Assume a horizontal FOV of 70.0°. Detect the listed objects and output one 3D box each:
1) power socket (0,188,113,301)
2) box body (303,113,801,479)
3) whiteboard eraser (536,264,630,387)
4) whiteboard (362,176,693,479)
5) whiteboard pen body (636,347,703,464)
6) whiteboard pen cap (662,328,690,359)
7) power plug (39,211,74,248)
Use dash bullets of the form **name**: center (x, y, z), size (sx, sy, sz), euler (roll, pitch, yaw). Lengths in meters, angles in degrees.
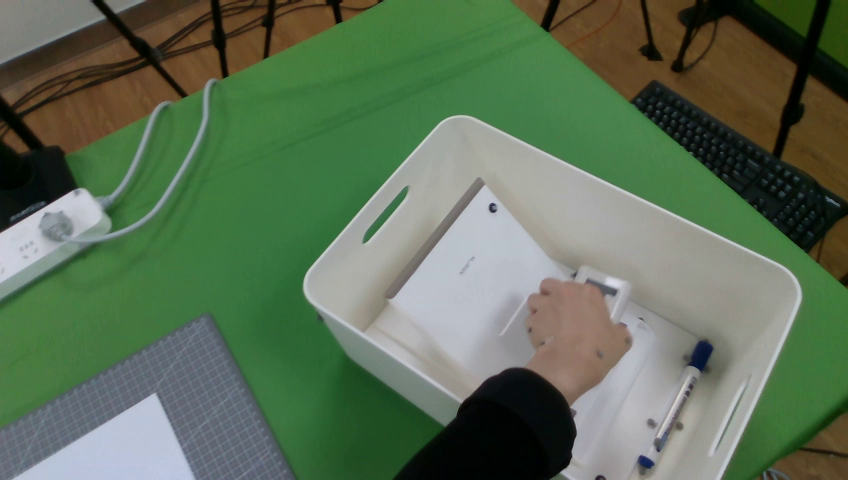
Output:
- **power socket**: center (-0.489, 0.017, 0.736), size (0.226, 0.033, 0.071), euler (-35, 64, -17)
- **box body**: center (0.107, 0.076, 0.584), size (0.362, 0.162, 0.253), euler (30, 66, 20)
- **whiteboard eraser**: center (0.153, 0.081, 0.581), size (0.055, 0.042, 0.112), euler (21, 64, 20)
- **whiteboard**: center (0.100, 0.073, 0.599), size (0.303, 0.145, 0.216), euler (29, 63, 20)
- **whiteboard pen body**: center (0.248, 0.161, 0.604), size (0.017, 0.017, 0.140), euler (31, 65, 21)
- **whiteboard pen cap**: center (0.262, 0.109, 0.630), size (0.018, 0.018, 0.033), euler (33, 67, 21)
- **power plug**: center (-0.431, -0.004, 0.718), size (0.035, 0.053, 0.072), euler (-26, 67, -11)
